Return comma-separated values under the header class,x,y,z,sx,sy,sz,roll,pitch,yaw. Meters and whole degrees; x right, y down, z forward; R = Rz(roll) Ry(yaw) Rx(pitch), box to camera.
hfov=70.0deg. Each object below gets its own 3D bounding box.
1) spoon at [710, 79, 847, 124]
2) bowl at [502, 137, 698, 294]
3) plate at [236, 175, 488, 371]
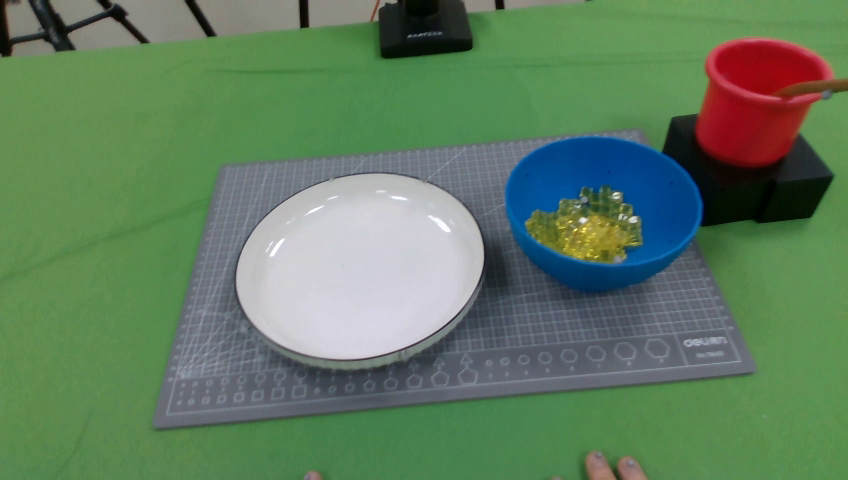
class,x,y,z,sx,sy,sz,roll,pitch,yaw
spoon,0.279,-0.110,0.477,0.041,0.021,0.193,0,3,3
bowl,0.139,-0.008,0.503,0.151,0.077,0.150,-2,47,3
plate,-0.050,0.025,0.515,0.207,0.039,0.205,-2,47,3
